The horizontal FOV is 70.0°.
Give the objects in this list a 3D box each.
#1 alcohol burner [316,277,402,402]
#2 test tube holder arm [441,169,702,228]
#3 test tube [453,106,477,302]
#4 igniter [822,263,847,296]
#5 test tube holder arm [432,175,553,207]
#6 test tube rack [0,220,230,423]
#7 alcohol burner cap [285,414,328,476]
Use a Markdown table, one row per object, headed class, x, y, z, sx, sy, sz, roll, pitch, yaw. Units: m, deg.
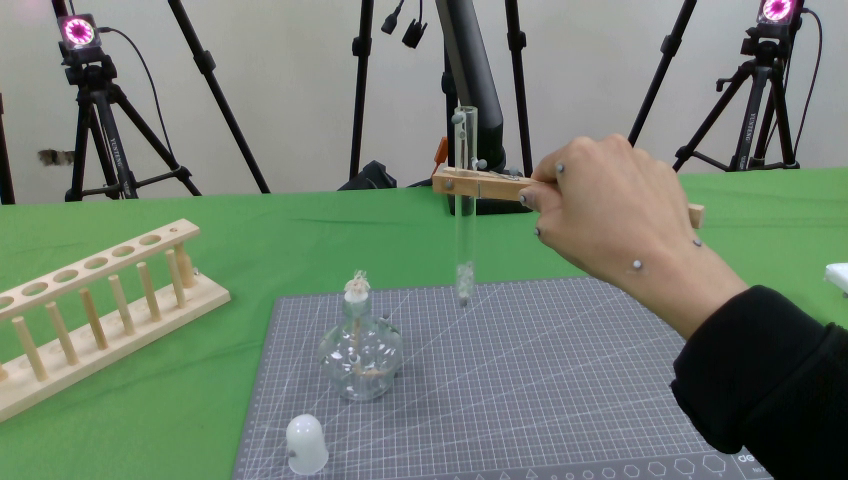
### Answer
| class | x | y | z | sx | sy | sz | roll | pitch | yaw |
| --- | --- | --- | --- | --- | --- | --- | --- | --- | --- |
| alcohol burner | -0.059 | 0.085 | 0.542 | 0.078 | 0.120 | 0.077 | -1 | 29 | 1 |
| test tube holder arm | 0.088 | -0.029 | 0.399 | 0.177 | 0.015 | 0.013 | 12 | 32 | 30 |
| test tube | 0.029 | -0.021 | 0.439 | 0.017 | 0.151 | 0.017 | -1 | 26 | 1 |
| igniter | 0.436 | 0.093 | 0.503 | 0.057 | 0.025 | 0.274 | -5 | 27 | -3 |
| test tube holder arm | 0.047 | -0.034 | 0.416 | 0.087 | 0.015 | 0.010 | 8 | 30 | 24 |
| test tube rack | -0.326 | 0.071 | 0.610 | 0.066 | 0.086 | 0.242 | 24 | 39 | 35 |
| alcohol burner cap | -0.096 | 0.161 | 0.486 | 0.034 | 0.048 | 0.033 | -1 | 31 | 1 |
